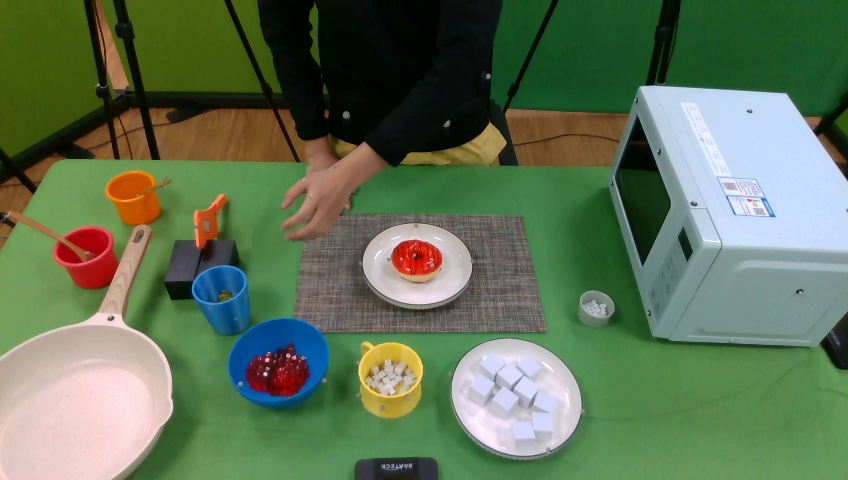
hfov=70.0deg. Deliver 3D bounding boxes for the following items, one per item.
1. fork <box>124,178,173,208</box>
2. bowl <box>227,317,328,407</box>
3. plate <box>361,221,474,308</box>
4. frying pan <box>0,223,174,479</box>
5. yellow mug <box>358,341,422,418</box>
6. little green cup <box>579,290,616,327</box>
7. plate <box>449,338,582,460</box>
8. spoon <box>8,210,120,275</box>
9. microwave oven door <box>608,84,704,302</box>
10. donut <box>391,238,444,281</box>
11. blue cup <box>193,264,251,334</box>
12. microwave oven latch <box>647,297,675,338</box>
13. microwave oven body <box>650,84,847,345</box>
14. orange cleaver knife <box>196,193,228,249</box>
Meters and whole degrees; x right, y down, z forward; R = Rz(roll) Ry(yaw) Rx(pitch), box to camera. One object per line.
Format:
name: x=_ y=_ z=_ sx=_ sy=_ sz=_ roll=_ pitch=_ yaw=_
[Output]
fork: x=-0.525 y=-0.089 z=1.153 sx=0.207 sy=0.019 sz=0.028 roll=-18 pitch=27 yaw=45
bowl: x=-0.222 y=0.203 z=0.947 sx=0.151 sy=0.077 sz=0.150 roll=2 pitch=46 yaw=-2
plate: x=-0.011 y=0.049 z=1.130 sx=0.209 sy=0.038 sz=0.208 roll=2 pitch=46 yaw=-2
frying pan: x=-0.505 y=0.169 z=0.941 sx=0.307 sy=0.103 sz=0.485 roll=5 pitch=54 yaw=-1
yellow mug: x=-0.063 y=0.210 z=0.961 sx=0.100 sy=0.064 sz=0.130 roll=-29 pitch=54 yaw=-28
little green cup: x=0.308 y=0.124 z=1.086 sx=0.061 sy=0.039 sz=0.061 roll=1 pitch=45 yaw=-1
plate: x=0.141 y=0.251 z=0.955 sx=0.208 sy=0.039 sz=0.206 roll=2 pitch=46 yaw=-2
spoon: x=-0.628 y=0.002 z=1.063 sx=0.195 sy=0.021 sz=0.041 roll=40 pitch=40 yaw=-27
microwave oven door: x=0.424 y=-0.096 z=1.138 sx=0.039 sy=0.245 sz=0.353 roll=2 pitch=47 yaw=-1
donut: x=-0.012 y=0.035 z=1.128 sx=0.099 sy=0.048 sz=0.098 roll=3 pitch=43 yaw=-3
blue cup: x=-0.331 y=0.105 z=1.016 sx=0.093 sy=0.101 sz=0.092 roll=1 pitch=46 yaw=-1
microwave oven latch: x=0.413 y=0.133 z=1.060 sx=0.030 sy=0.029 sz=0.078 roll=5 pitch=46 yaw=2
microwave oven body: x=0.569 y=-0.054 z=1.116 sx=0.326 sy=0.261 sz=0.439 roll=2 pitch=46 yaw=-1
orange cleaver knife: x=-0.406 y=-0.041 z=1.163 sx=0.012 sy=0.077 sz=0.210 roll=0 pitch=18 yaw=-4
